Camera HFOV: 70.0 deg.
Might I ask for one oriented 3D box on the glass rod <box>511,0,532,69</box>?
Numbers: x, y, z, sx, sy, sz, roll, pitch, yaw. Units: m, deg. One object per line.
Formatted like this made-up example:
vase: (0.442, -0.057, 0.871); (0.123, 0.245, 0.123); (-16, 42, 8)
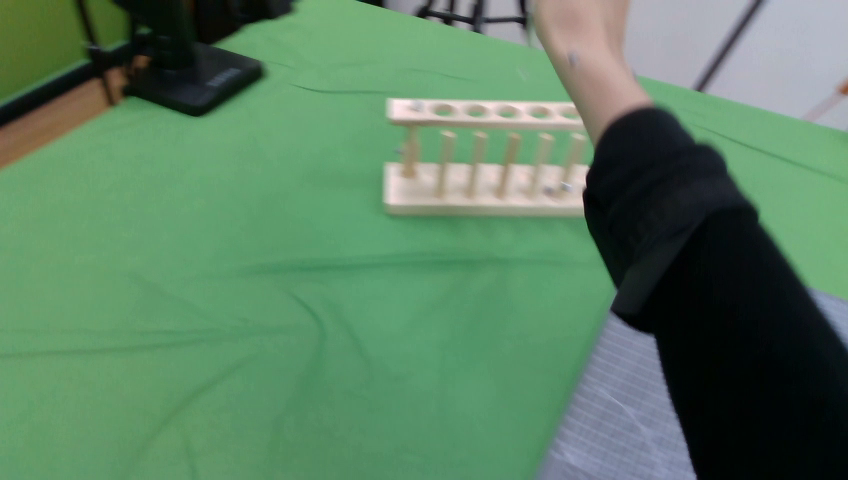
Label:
glass rod: (0.079, -0.199, 0.425); (0.008, 0.201, 0.008); (1, 59, -2)

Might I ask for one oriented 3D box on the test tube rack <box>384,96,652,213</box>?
test tube rack: (0.084, -0.079, 0.567); (0.243, 0.086, 0.066); (0, 44, -5)

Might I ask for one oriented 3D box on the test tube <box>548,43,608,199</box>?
test tube: (0.132, -0.098, 0.527); (0.017, 0.151, 0.017); (4, 42, -3)
